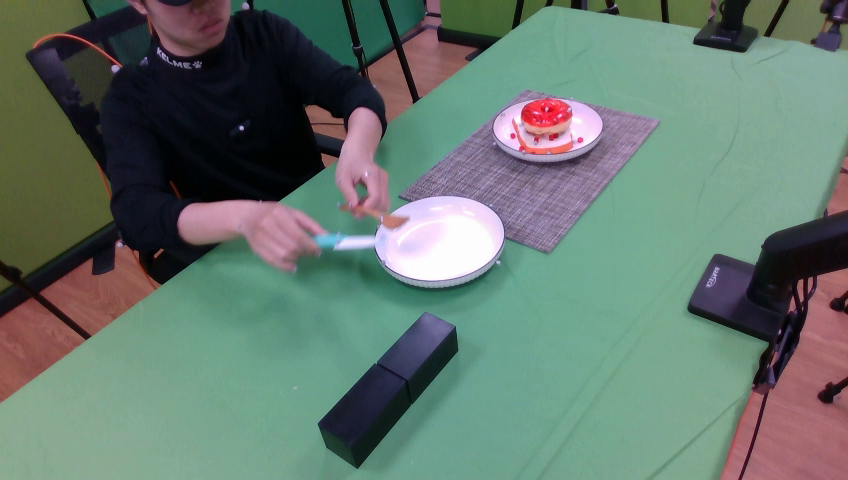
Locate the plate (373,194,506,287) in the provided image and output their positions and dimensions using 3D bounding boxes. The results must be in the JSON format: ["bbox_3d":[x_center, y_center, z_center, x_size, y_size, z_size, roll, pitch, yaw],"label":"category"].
[{"bbox_3d":[0.025,0.003,0.952,0.207,0.039,0.206,-4,41,4],"label":"plate"}]

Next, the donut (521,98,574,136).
[{"bbox_3d":[0.232,-0.232,1.135,0.099,0.048,0.098,-4,41,4],"label":"donut"}]

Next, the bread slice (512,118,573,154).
[{"bbox_3d":[0.232,-0.204,1.160,0.105,0.019,0.131,-7,39,1],"label":"bread slice"}]

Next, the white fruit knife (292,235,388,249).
[{"bbox_3d":[-0.117,0.003,0.835,0.206,0.016,0.027,0,41,46],"label":"white fruit knife"}]

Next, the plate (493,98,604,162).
[{"bbox_3d":[0.237,-0.206,1.158,0.209,0.038,0.208,-4,40,4],"label":"plate"}]

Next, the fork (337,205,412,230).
[{"bbox_3d":[-0.078,-0.036,0.866,0.028,0.019,0.205,-32,27,-25],"label":"fork"}]
